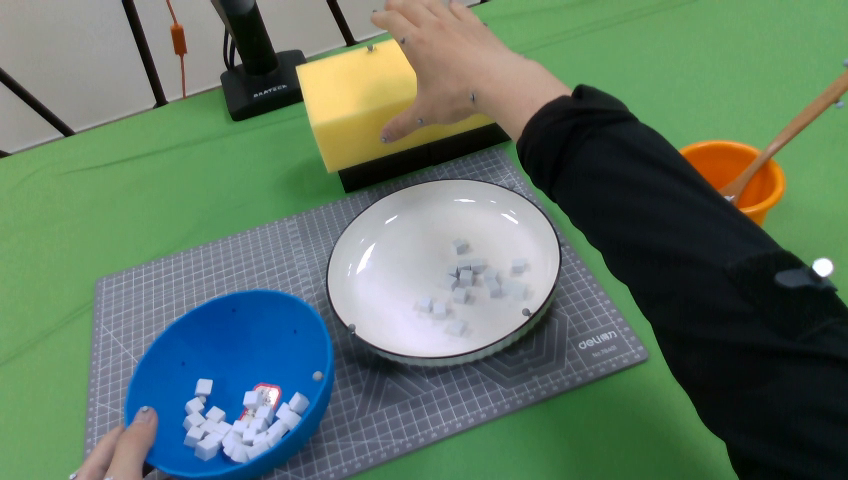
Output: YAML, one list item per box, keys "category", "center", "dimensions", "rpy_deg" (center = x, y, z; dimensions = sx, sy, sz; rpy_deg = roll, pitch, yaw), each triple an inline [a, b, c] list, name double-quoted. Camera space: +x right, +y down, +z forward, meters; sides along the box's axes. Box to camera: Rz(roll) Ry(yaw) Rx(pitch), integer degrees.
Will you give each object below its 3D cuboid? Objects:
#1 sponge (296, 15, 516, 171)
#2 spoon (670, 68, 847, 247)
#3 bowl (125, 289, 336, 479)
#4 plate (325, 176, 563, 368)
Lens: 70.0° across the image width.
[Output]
- category: "sponge"
  center: [-0.020, -0.157, 0.635]
  dimensions: [0.207, 0.061, 0.117]
  rpy_deg: [-18, 47, -6]
- category: "spoon"
  center: [0.281, -0.067, 0.499]
  dimensions: [0.022, 0.194, 0.041]
  rpy_deg: [12, 36, -42]
- category: "bowl"
  center: [-0.132, 0.119, 0.457]
  dimensions: [0.151, 0.077, 0.150]
  rpy_deg: [-6, 47, 7]
- category: "plate"
  center: [0.017, 0.026, 0.539]
  dimensions: [0.209, 0.038, 0.207]
  rpy_deg: [-6, 48, 7]
